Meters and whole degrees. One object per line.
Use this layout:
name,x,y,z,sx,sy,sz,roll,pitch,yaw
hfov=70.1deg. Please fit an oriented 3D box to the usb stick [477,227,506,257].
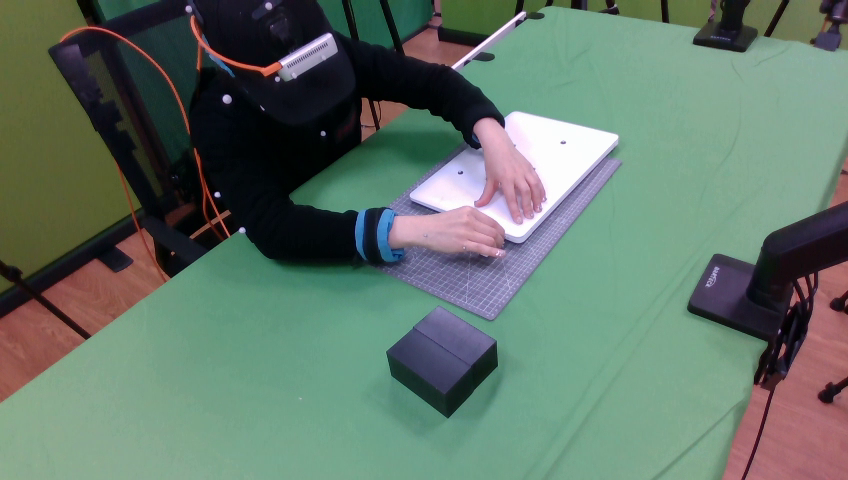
usb stick,0.107,0.000,0.934,0.021,0.027,0.059,23,42,35

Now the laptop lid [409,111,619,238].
laptop lid,0.167,-0.136,1.090,0.239,0.013,0.358,24,49,34

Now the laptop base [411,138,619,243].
laptop base,0.170,-0.126,1.096,0.233,0.023,0.355,22,48,33
